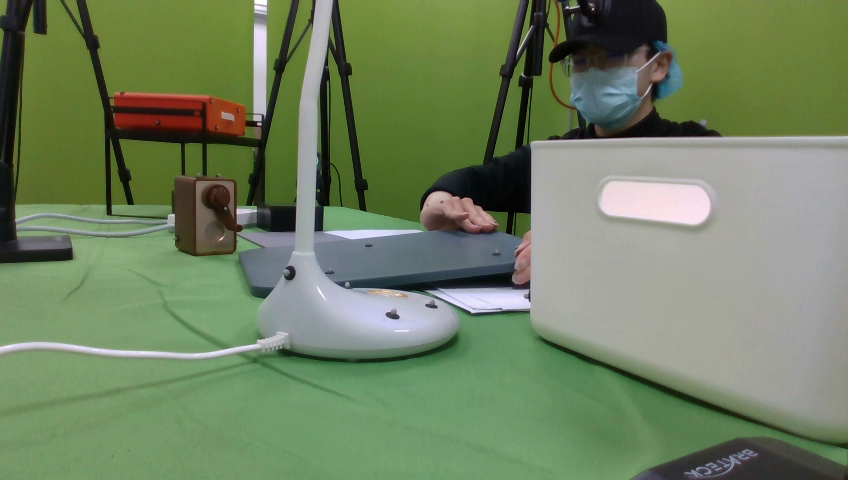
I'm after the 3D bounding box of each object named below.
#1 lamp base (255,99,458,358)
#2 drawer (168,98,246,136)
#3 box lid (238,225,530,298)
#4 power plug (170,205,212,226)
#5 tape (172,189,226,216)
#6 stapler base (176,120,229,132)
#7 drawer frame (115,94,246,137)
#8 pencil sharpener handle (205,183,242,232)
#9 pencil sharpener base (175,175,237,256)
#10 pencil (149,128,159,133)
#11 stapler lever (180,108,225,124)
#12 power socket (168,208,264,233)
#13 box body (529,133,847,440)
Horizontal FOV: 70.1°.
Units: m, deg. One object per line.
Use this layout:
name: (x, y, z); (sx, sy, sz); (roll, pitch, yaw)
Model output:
lamp base: (-0.056, -0.013, 0.462); (0.160, 0.180, 0.180); (6, 11, 27)
drawer: (-0.539, -0.279, 1.374); (0.212, 0.073, 0.194); (2, 8, 5)
box lid: (-0.034, 0.019, 0.760); (0.373, 0.015, 0.262); (-6, 11, -20)
power plug: (-0.455, -0.041, 1.196); (0.052, 0.035, 0.072); (1, 42, 24)
tape: (-0.515, -0.087, 1.388); (0.117, 0.052, 0.117); (3, 8, 0)
stapler base: (-0.496, -0.257, 1.364); (0.041, 0.024, 0.131); (2, 9, 22)
drawer frame: (-0.543, -0.281, 1.374); (0.213, 0.082, 0.201); (2, 8, 4)
pencil sharpener handle: (-0.265, -0.043, 0.812); (0.036, 0.068, 0.030); (-31, 27, -35)
pencil sharpener base: (-0.304, -0.036, 0.847); (0.062, 0.107, 0.076); (-4, 10, -42)
pencil: (-0.528, -0.258, 1.361); (0.012, 0.012, 0.195); (8, 20, 35)
stapler lever: (-0.496, -0.281, 1.359); (0.027, 0.040, 0.118); (2, 7, 22)
power socket: (-0.381, -0.038, 1.129); (0.072, 0.032, 0.227); (4, 8, 17)
box body: (0.287, 0.007, 0.473); (0.366, 0.160, 0.253); (-3, 8, -33)
